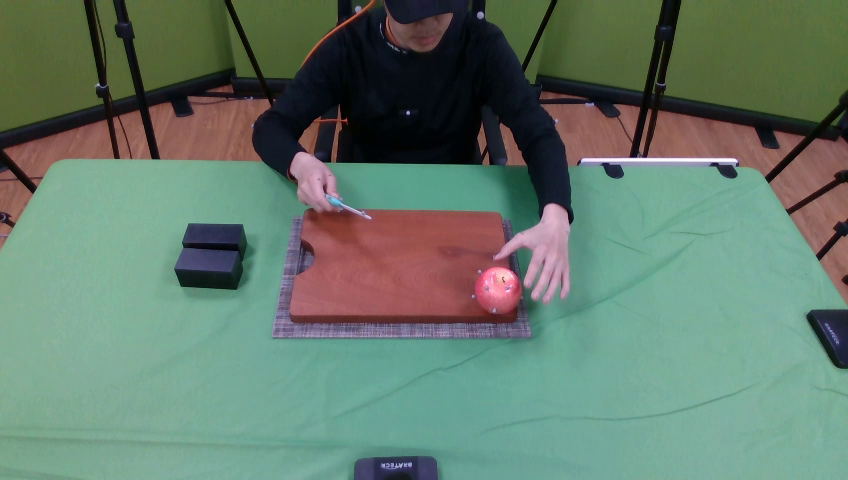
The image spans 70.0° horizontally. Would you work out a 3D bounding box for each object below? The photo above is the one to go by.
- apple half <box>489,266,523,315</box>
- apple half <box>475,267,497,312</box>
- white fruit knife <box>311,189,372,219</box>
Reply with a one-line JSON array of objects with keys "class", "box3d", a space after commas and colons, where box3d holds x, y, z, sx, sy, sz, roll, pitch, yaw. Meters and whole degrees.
[{"class": "apple half", "box3d": [0.142, 0.091, 1.043, 0.053, 0.075, 0.080, 10, 44, 1]}, {"class": "apple half", "box3d": [0.104, 0.085, 1.044, 0.033, 0.081, 0.081, 10, 46, 1]}, {"class": "white fruit knife", "box3d": [-0.154, -0.066, 1.114, 0.206, 0.027, 0.016, 22, 76, 47]}]
